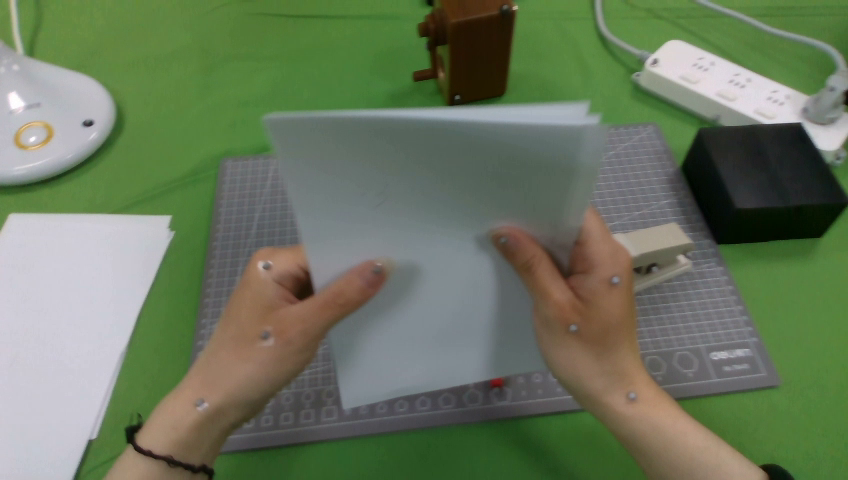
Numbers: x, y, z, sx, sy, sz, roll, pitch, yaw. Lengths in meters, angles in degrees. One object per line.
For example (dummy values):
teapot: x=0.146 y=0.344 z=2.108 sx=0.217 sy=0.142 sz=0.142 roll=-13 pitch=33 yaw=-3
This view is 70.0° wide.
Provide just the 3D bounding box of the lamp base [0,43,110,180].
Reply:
lamp base: x=-0.416 y=-0.176 z=0.567 sx=0.160 sy=0.182 sz=0.177 roll=-32 pitch=56 yaw=-22

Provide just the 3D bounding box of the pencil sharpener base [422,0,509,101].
pencil sharpener base: x=0.039 y=-0.209 z=0.637 sx=0.077 sy=0.108 sz=0.060 roll=-15 pitch=54 yaw=-10

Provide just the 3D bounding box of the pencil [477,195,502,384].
pencil: x=0.053 y=0.032 z=0.513 sx=0.012 sy=0.012 sz=0.192 roll=-1 pitch=51 yaw=0

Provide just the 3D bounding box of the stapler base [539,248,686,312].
stapler base: x=0.161 y=0.021 z=0.511 sx=0.131 sy=0.024 sz=0.041 roll=-19 pitch=56 yaw=-15

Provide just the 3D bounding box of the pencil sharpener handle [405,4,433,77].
pencil sharpener handle: x=-0.008 y=-0.200 z=0.613 sx=0.031 sy=0.068 sz=0.035 roll=-15 pitch=32 yaw=-10

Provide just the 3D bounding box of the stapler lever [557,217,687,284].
stapler lever: x=0.162 y=0.004 z=0.492 sx=0.118 sy=0.040 sz=0.026 roll=-19 pitch=56 yaw=-15

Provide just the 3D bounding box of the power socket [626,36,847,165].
power socket: x=0.327 y=-0.151 z=0.638 sx=0.225 sy=0.033 sz=0.072 roll=35 pitch=60 yaw=24

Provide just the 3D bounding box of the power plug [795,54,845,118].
power plug: x=0.401 y=-0.145 z=0.603 sx=0.072 sy=0.053 sz=0.035 roll=-33 pitch=59 yaw=-21
